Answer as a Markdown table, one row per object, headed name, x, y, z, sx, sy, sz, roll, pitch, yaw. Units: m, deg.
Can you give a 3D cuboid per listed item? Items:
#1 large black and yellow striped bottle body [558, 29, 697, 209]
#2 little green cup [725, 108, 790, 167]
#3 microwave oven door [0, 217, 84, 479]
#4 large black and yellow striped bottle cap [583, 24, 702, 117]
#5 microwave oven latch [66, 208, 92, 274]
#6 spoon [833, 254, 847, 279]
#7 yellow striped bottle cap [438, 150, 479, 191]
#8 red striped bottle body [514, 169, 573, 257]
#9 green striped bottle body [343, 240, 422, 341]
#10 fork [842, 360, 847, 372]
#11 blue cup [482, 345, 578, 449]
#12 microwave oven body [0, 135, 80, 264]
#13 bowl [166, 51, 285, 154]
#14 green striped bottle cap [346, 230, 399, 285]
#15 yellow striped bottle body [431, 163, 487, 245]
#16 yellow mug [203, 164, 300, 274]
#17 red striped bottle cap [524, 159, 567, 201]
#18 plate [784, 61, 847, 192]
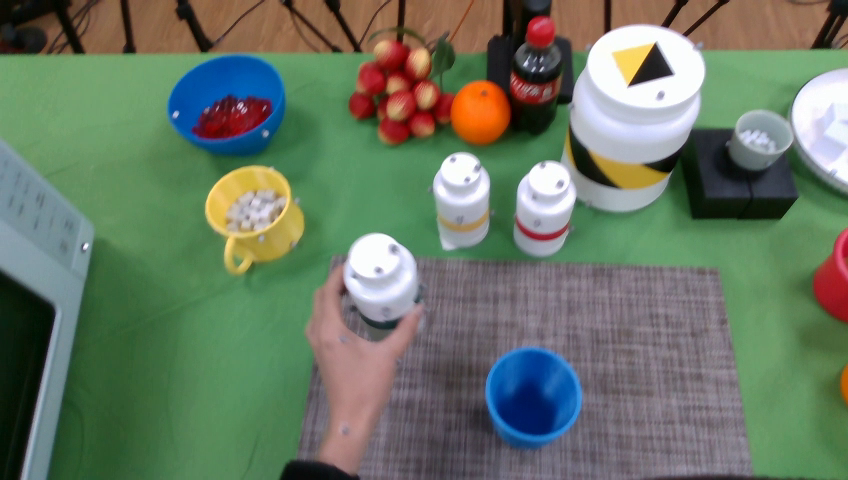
| name | x | y | z | sx | sy | sz | roll | pitch | yaw |
| --- | --- | --- | --- | --- | --- | --- | --- | --- | --- |
| large black and yellow striped bottle body | 0.227 | -0.134 | 0.688 | 0.131 | 0.185 | 0.129 | -2 | 61 | 4 |
| little green cup | 0.377 | -0.115 | 0.691 | 0.061 | 0.039 | 0.061 | -1 | 60 | 3 |
| microwave oven door | -0.413 | 0.143 | 0.532 | 0.039 | 0.246 | 0.352 | -7 | 61 | 2 |
| large black and yellow striped bottle cap | 0.220 | -0.174 | 0.614 | 0.115 | 0.019 | 0.114 | -2 | 60 | 4 |
| microwave oven latch | -0.423 | 0.002 | 0.727 | 0.030 | 0.030 | 0.078 | -5 | 62 | 2 |
| spoon | 0.431 | 0.043 | 0.596 | 0.041 | 0.194 | 0.022 | 33 | 114 | 21 |
| yellow striped bottle cap | 0.037 | -0.075 | 0.647 | 0.044 | 0.019 | 0.044 | -1 | 62 | 3 |
| red striped bottle body | 0.133 | -0.036 | 0.678 | 0.063 | 0.121 | 0.062 | -4 | 58 | 7 |
| green striped bottle body | -0.036 | 0.042 | 0.549 | 0.063 | 0.120 | 0.062 | -2 | 59 | 3 |
| fork | 0.475 | 0.147 | 0.532 | 0.028 | 0.019 | 0.206 | -34 | 20 | -12 |
| blue cup | 0.096 | 0.159 | 0.580 | 0.092 | 0.101 | 0.092 | -1 | 60 | 2 |
| microwave oven body | -0.561 | 0.126 | 0.559 | 0.326 | 0.262 | 0.437 | -7 | 61 | 1 |
| bowl | -0.252 | -0.168 | 0.806 | 0.151 | 0.077 | 0.150 | -1 | 61 | 3 |
| green striped bottle cap | -0.043 | 0.014 | 0.504 | 0.044 | 0.020 | 0.044 | 0 | 62 | 0 |
| yellow striped bottle body | 0.041 | -0.049 | 0.692 | 0.063 | 0.121 | 0.062 | -2 | 61 | 4 |
| yellow mug | -0.211 | -0.020 | 0.727 | 0.100 | 0.064 | 0.130 | 11 | 63 | 10 |
| red striped bottle cap | 0.127 | -0.063 | 0.633 | 0.044 | 0.018 | 0.044 | 0 | 60 | 0 |
| plate | 0.549 | -0.131 | 0.744 | 0.209 | 0.038 | 0.207 | -2 | 62 | 4 |
